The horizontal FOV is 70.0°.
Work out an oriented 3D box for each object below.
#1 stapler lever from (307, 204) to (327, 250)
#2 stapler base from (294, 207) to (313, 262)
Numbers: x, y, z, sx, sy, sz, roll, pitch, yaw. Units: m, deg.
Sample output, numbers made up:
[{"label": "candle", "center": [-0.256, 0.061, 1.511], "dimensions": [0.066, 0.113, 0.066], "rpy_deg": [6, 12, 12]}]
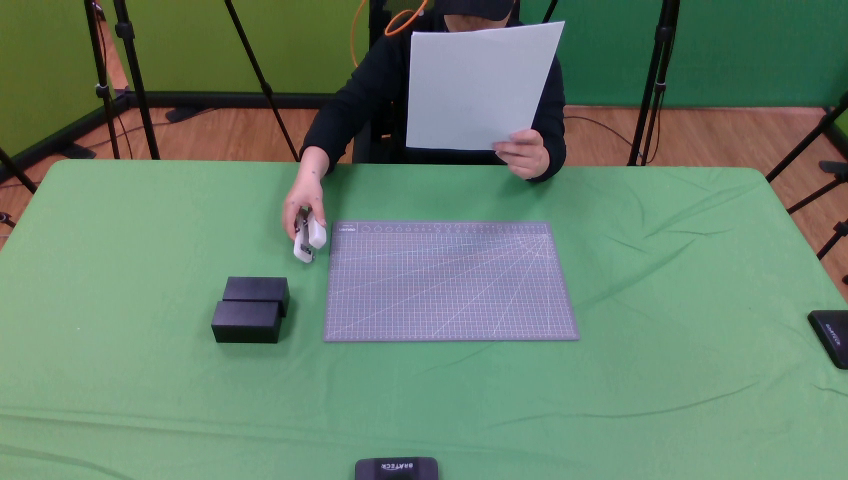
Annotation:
[{"label": "stapler lever", "center": [-0.206, -0.029, 1.168], "dimensions": [0.040, 0.027, 0.117], "rpy_deg": [-32, 40, 22]}, {"label": "stapler base", "center": [-0.226, -0.015, 1.178], "dimensions": [0.024, 0.041, 0.129], "rpy_deg": [-32, 40, 22]}]
